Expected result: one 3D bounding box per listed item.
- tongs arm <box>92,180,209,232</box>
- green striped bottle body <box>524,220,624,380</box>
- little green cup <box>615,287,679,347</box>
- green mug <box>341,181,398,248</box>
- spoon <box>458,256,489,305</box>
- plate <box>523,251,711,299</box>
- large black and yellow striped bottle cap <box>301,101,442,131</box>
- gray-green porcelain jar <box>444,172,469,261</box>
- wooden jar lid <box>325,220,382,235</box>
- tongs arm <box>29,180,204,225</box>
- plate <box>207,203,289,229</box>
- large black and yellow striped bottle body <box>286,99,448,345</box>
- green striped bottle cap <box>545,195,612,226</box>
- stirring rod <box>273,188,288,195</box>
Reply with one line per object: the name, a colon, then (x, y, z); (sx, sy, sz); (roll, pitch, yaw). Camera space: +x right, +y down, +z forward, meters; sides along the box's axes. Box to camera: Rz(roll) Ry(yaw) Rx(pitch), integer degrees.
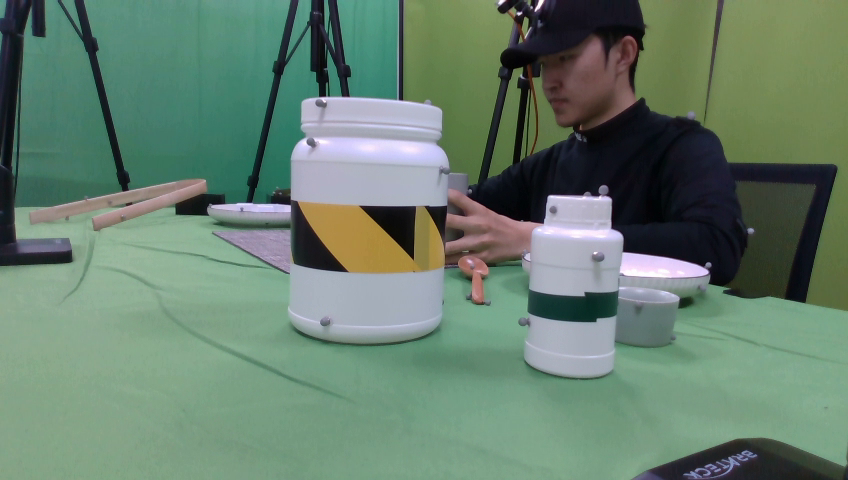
tongs arm: (-0.534, -0.076, 1.221); (0.028, 0.028, 0.388); (-2, 15, 12)
green striped bottle body: (0.104, 0.031, 0.422); (0.063, 0.119, 0.063); (2, 8, 0)
little green cup: (0.180, 0.064, 0.506); (0.061, 0.038, 0.061); (2, 8, 0)
green mug: (-0.089, -0.044, 0.996); (0.093, 0.105, 0.125); (1, 7, -8)
spoon: (0.059, 0.044, 0.696); (0.041, 0.021, 0.194); (20, 7, 0)
plate: (0.219, 0.042, 0.706); (0.209, 0.038, 0.209); (2, 7, 0)
large black and yellow striped bottle cap: (-0.042, -0.100, 0.491); (0.115, 0.019, 0.115); (1, 8, 0)
gray-green porcelain jar: (0.010, -0.036, 0.874); (0.106, 0.126, 0.106); (2, 7, 0)
wooden jar lid: (-0.135, -0.025, 1.162); (0.108, 0.020, 0.108); (3, 9, 0)
tongs arm: (-0.609, -0.083, 1.245); (0.050, 0.026, 0.386); (5, 16, 23)
plate: (-0.342, -0.050, 1.259); (0.208, 0.039, 0.207); (2, 7, 0)
large black and yellow striped bottle body: (-0.047, -0.018, 0.501); (0.131, 0.184, 0.130); (2, 7, 0)
green striped bottle cap: (0.106, -0.020, 0.414); (0.044, 0.020, 0.044); (2, 4, 0)
stirring rod: (-0.354, -0.122, 1.519); (0.006, 0.014, 0.176); (2, 7, 1)
